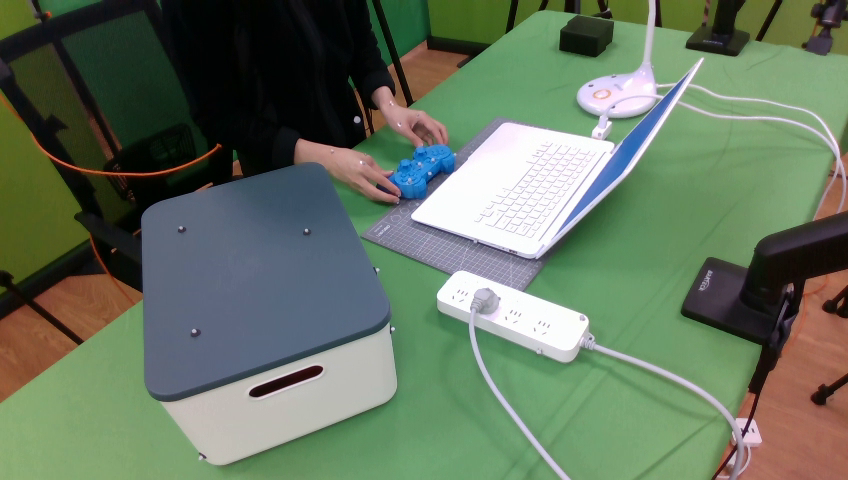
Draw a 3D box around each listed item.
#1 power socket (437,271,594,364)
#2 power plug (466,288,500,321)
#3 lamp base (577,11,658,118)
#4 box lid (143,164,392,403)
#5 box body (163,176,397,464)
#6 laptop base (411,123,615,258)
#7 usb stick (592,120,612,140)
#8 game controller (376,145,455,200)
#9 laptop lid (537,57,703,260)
[{"bbox_3d":[0.118,0.102,0.830,0.225,0.033,0.072,20,48,28],"label":"power socket"},{"bbox_3d":[0.072,0.093,0.813,0.035,0.053,0.073,30,54,35],"label":"power plug"},{"bbox_3d":[0.406,-0.363,1.222,0.180,0.181,0.159,-20,42,-18],"label":"lamp base"},{"bbox_3d":[-0.212,0.025,0.753,0.264,0.015,0.368,-18,40,-13],"label":"box lid"},{"bbox_3d":[-0.205,0.080,0.802,0.255,0.161,0.361,-18,41,-13],"label":"box body"},{"bbox_3d":[0.167,-0.102,1.074,0.234,0.023,0.355,16,45,30],"label":"laptop base"},{"bbox_3d":[0.335,-0.203,1.149,0.021,0.027,0.059,26,53,26],"label":"usb stick"},{"bbox_3d":[-0.011,-0.131,1.112,0.096,0.052,0.155,23,49,28],"label":"game controller"},{"bbox_3d":[0.304,-0.127,0.928,0.013,0.241,0.357,40,51,4],"label":"laptop lid"}]
